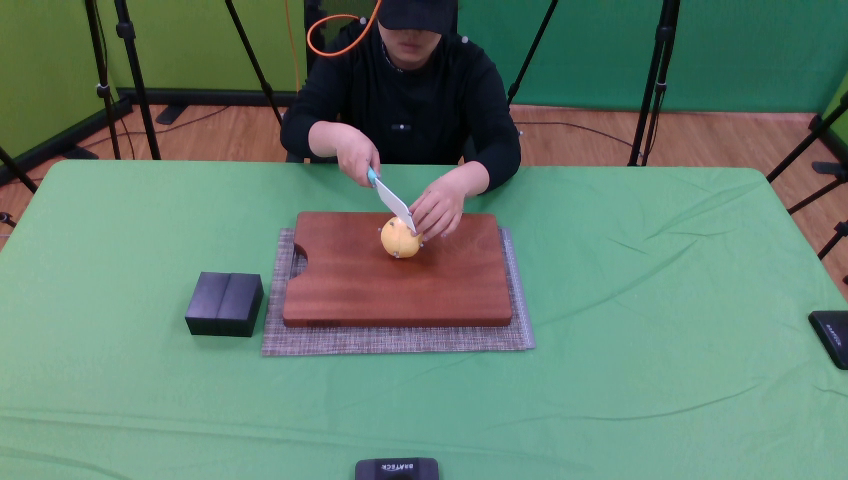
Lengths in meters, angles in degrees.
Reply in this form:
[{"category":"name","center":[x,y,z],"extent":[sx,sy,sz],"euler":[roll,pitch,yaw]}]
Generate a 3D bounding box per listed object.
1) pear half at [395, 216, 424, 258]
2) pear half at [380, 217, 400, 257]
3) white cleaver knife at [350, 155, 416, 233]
[{"category":"pear half","center":[-0.028,-0.019,1.114],"extent":[0.056,0.110,0.076],"euler":[-11,51,-15]},{"category":"pear half","center":[-0.064,-0.007,1.114],"extent":[0.031,0.088,0.070],"euler":[-11,55,-15]},{"category":"white cleaver knife","center":[-0.081,-0.088,1.114],"extent":[0.021,0.066,0.284],"euler":[-23,34,-14]}]
